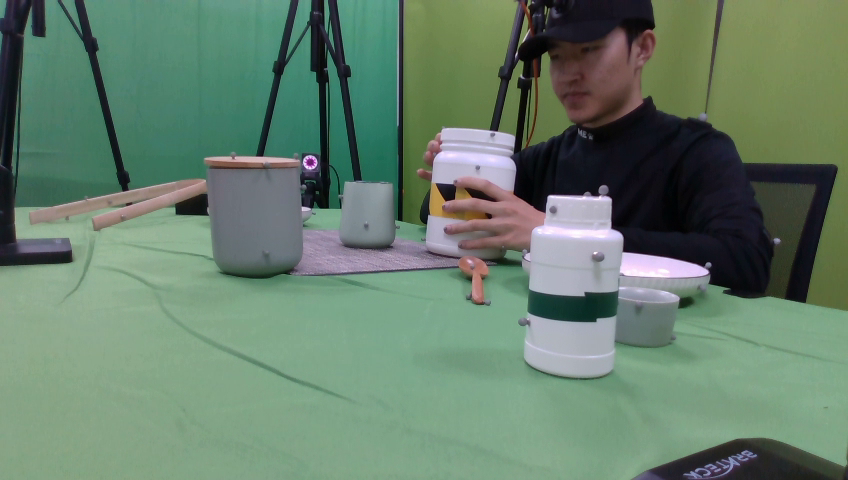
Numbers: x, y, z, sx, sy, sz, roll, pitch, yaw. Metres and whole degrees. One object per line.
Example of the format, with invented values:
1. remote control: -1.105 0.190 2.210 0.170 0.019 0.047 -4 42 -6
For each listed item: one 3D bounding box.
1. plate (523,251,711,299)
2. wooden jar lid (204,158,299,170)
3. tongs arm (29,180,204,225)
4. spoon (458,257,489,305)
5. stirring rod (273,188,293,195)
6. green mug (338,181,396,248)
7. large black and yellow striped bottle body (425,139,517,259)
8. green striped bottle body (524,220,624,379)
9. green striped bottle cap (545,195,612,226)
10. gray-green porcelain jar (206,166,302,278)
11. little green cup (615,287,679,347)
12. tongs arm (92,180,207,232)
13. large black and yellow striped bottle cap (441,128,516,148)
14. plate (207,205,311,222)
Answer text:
1. plate: 0.219 0.041 0.706 0.209 0.038 0.209 2 7 0
2. wooden jar lid: -0.202 -0.085 0.714 0.108 0.020 0.108 3 11 0
3. tongs arm: -0.609 -0.083 1.245 0.050 0.026 0.386 5 16 23
4. spoon: 0.059 0.044 0.695 0.041 0.021 0.194 18 7 0
5. stirring rod: -0.353 -0.122 1.518 0.006 0.014 0.176 1 7 2
6. green mug: -0.098 -0.044 0.995 0.093 0.105 0.125 -1 8 -21
7. large black and yellow striped bottle body: 0.073 -0.069 0.935 0.131 0.184 0.130 6 5 0
8. green striped bottle body: 0.104 0.031 0.422 0.063 0.119 0.063 2 7 0
9. green striped bottle cap: 0.106 -0.020 0.415 0.044 0.020 0.044 2 5 0
10. gray-green porcelain jar: -0.201 -0.024 0.725 0.106 0.126 0.106 -1 9 1
11. little green cup: 0.180 0.064 0.506 0.061 0.038 0.061 1 8 0
12. tongs arm: -0.534 -0.076 1.222 0.028 0.028 0.388 -2 15 12
13. large black and yellow striped bottle cap: 0.083 -0.156 0.926 0.115 0.019 0.115 5 7 0
14. plate: -0.342 -0.050 1.259 0.208 0.039 0.207 2 7 0
